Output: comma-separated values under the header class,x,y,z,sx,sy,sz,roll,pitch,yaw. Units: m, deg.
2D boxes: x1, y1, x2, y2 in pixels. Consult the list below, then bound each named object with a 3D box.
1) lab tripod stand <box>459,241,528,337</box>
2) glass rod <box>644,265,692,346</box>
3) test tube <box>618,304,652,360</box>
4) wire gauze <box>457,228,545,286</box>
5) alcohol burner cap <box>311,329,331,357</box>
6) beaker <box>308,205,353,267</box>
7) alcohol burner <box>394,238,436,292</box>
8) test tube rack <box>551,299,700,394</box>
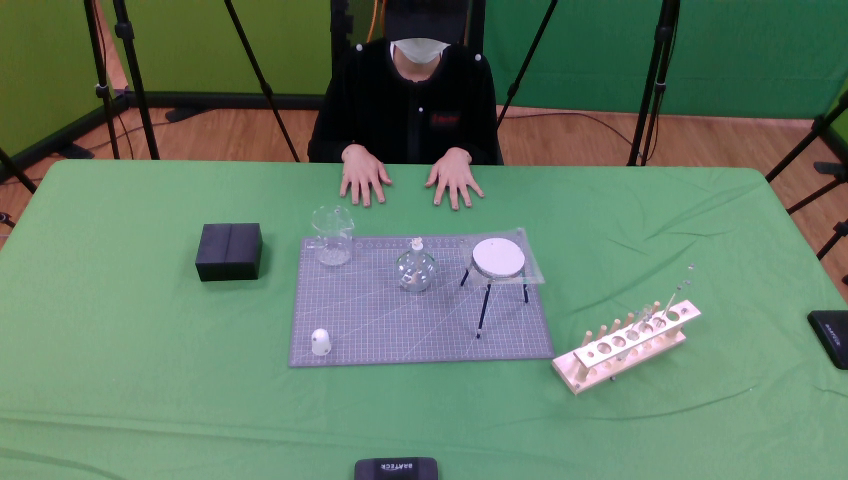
class,x,y,z,sx,sy,sz,roll,pitch,yaw
lab tripod stand,0.122,0.075,1.054,0.148,0.132,0.147,3,44,-3
glass rod,0.395,0.112,0.985,0.008,0.200,0.008,4,43,-3
test tube,0.335,0.150,0.967,0.017,0.151,0.017,0,50,0
wire gauze,0.126,0.029,1.006,0.125,0.011,0.120,-4,46,-10
alcohol burner cap,-0.173,0.168,1.005,0.034,0.048,0.033,2,46,-2
beaker,-0.171,-0.004,1.132,0.084,0.101,0.073,16,47,10
alcohol burner,-0.016,0.038,1.093,0.078,0.119,0.077,2,48,-2
test tube rack,0.339,0.166,1.021,0.242,0.085,0.066,-19,50,-21
